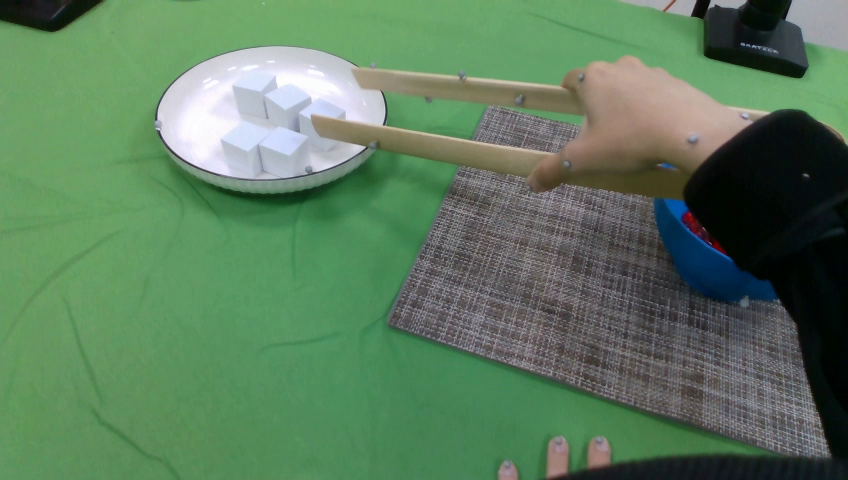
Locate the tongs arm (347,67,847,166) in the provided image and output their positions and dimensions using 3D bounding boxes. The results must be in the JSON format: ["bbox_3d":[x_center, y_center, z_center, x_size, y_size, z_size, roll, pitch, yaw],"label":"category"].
[{"bbox_3d":[0.088,-0.094,0.449,0.382,0.027,0.050,13,56,29],"label":"tongs arm"}]

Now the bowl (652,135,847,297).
[{"bbox_3d":[0.249,-0.007,0.485,0.151,0.077,0.150,3,48,-3],"label":"bowl"}]

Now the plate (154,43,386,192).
[{"bbox_3d":[-0.141,-0.116,0.575,0.209,0.038,0.207,3,49,-3],"label":"plate"}]

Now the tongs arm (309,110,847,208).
[{"bbox_3d":[0.069,-0.066,0.432,0.385,0.028,0.028,13,52,29],"label":"tongs arm"}]
